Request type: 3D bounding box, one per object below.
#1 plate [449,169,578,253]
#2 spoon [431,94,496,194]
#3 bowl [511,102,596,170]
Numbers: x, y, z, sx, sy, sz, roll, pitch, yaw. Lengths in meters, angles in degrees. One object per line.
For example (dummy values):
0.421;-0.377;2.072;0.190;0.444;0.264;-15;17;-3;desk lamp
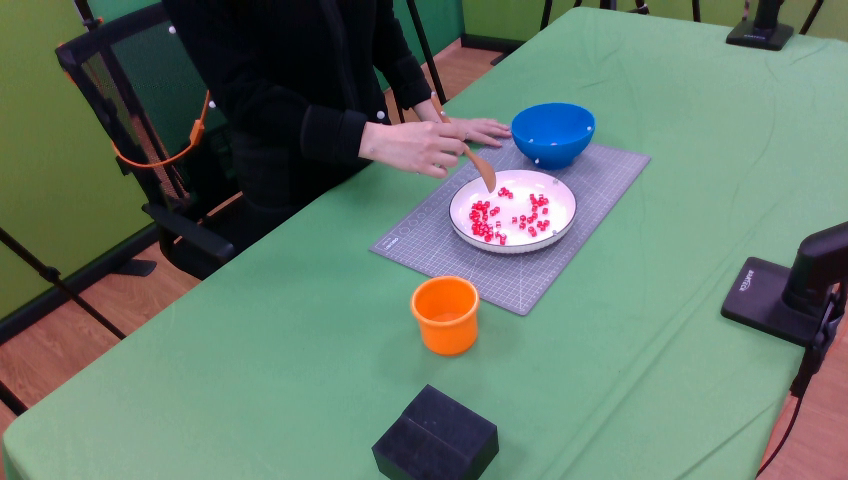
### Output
0.146;-0.044;0.993;0.209;0.038;0.208;-5;40;5;plate
0.061;-0.142;0.912;0.021;0.195;0.041;-14;42;38;spoon
0.237;-0.182;1.107;0.151;0.077;0.150;-6;40;5;bowl
